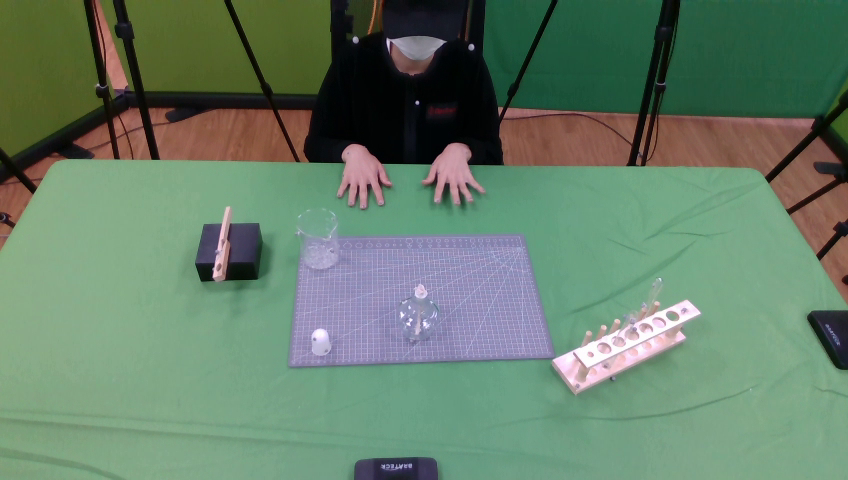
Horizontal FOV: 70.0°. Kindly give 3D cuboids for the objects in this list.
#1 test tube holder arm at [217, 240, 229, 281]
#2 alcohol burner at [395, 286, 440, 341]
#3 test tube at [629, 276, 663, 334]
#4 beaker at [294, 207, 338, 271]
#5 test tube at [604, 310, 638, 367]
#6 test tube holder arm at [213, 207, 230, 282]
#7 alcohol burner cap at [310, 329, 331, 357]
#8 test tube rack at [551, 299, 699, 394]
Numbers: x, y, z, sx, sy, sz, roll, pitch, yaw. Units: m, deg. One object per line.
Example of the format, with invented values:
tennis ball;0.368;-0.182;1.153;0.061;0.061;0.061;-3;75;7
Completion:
test tube holder arm;-0.354;0.035;1.070;0.010;0.015;0.087;-10;47;-1
alcohol burner;-0.010;0.116;1.018;0.078;0.119;0.077;3;47;-3
test tube;0.370;0.111;1.014;0.017;0.151;0.017;1;48;-1
beaker;-0.196;0.003;1.123;0.074;0.101;0.083;-23;53;-24
test tube;0.310;0.158;0.957;0.017;0.151;0.017;1;49;-1
test tube holder arm;-0.366;0.004;1.101;0.013;0.015;0.177;-10;47;-1
alcohol burner cap;-0.173;0.168;1.005;0.034;0.048;0.033;2;46;-2
test tube rack;0.339;0.166;1.021;0.242;0.085;0.066;-19;50;-21
